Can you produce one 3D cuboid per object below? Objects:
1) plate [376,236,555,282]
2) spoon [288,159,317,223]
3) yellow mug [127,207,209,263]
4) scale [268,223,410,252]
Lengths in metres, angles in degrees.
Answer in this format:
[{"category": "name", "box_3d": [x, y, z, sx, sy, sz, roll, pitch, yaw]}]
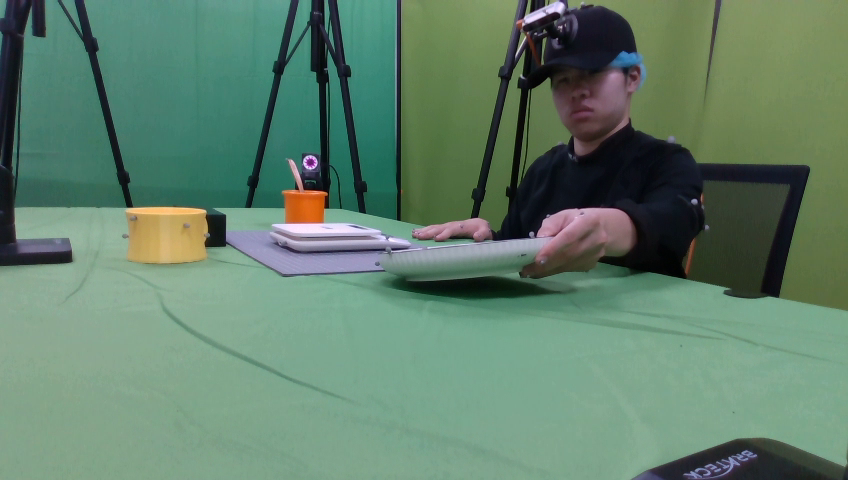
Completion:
[{"category": "plate", "box_3d": [0.050, 0.023, 0.710, 0.209, 0.038, 0.209, -6, 0, 0]}, {"category": "spoon", "box_3d": [-0.260, -0.103, 1.268, 0.042, 0.193, 0.021, 3, -39, -33]}, {"category": "yellow mug", "box_3d": [-0.339, -0.010, 0.827, 0.100, 0.064, 0.131, 5, 7, 17]}, {"category": "scale", "box_3d": [-0.138, -0.006, 0.980, 0.202, 0.031, 0.148, -1, 8, -30]}]
